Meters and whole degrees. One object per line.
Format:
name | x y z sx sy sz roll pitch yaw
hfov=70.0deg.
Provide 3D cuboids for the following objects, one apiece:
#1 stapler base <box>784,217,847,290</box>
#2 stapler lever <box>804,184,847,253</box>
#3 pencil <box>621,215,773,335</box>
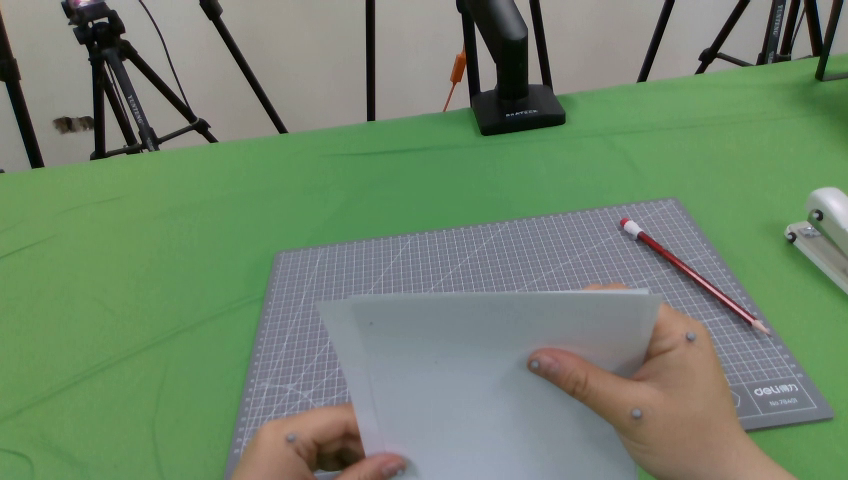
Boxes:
stapler base | 0.385 0.013 0.552 0.041 0.025 0.129 -13 39 -2
stapler lever | 0.382 -0.006 0.535 0.027 0.040 0.117 -13 39 -2
pencil | 0.247 0.027 0.565 0.012 0.012 0.192 -20 39 -14
